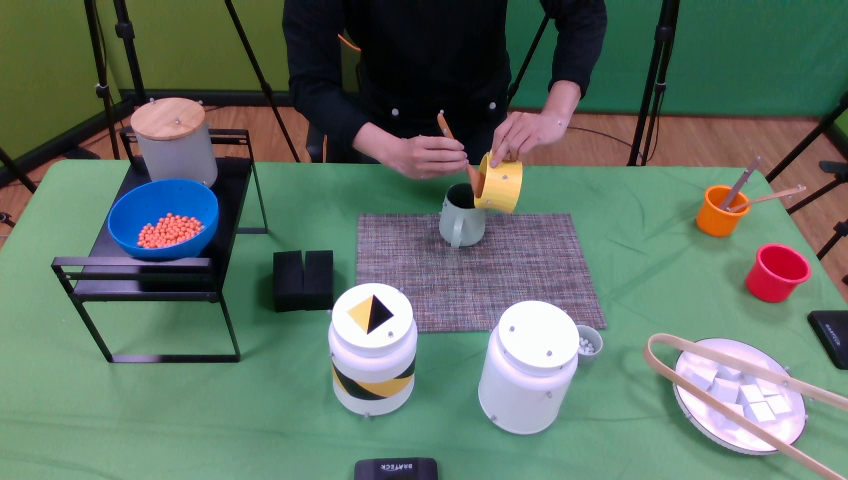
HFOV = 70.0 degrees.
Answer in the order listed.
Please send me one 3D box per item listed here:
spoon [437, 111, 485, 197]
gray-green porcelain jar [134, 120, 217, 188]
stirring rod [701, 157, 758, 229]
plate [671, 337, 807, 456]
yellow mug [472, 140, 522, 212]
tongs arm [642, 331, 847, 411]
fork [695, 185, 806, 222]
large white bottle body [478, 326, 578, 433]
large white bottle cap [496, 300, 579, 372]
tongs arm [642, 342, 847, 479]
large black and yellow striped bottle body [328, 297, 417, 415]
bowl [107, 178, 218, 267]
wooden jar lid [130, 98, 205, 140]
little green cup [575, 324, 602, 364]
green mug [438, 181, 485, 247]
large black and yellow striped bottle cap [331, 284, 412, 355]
[{"bbox_3d":[0.067,-0.143,1.036,0.021,0.195,0.041,14,61,48],"label":"spoon"},{"bbox_3d":[-0.397,-0.141,0.979,0.106,0.127,0.105,2,47,-2],"label":"gray-green porcelain jar"},{"bbox_3d":[0.634,-0.096,1.257,0.014,0.006,0.176,38,97,29],"label":"stirring rod"},{"bbox_3d":[0.504,0.254,0.984,0.208,0.039,0.206,2,46,-2],"label":"plate"},{"bbox_3d":[0.134,-0.118,1.089,0.064,0.131,0.099,11,28,-7],"label":"yellow mug"},{"bbox_3d":[0.546,0.227,0.968,0.384,0.026,0.050,22,52,13],"label":"tongs arm"},{"bbox_3d":[0.658,-0.074,1.230,0.207,0.019,0.028,-23,36,37],"label":"fork"},{"bbox_3d":[0.156,0.192,0.913,0.131,0.185,0.130,2,46,-2],"label":"large white bottle body"},{"bbox_3d":[0.160,0.133,0.852,0.115,0.018,0.114,3,46,-3],"label":"large white bottle cap"},{"bbox_3d":[0.504,0.278,0.918,0.386,0.028,0.028,34,59,22],"label":"tongs arm"},{"bbox_3d":[-0.078,0.167,0.920,0.131,0.185,0.130,2,46,-2],"label":"large black and yellow striped bottle body"},{"bbox_3d":[-0.374,-0.014,0.893,0.151,0.077,0.150,2,46,-2],"label":"bowl"},{"bbox_3d":[-0.393,-0.183,0.934,0.108,0.021,0.107,2,44,-2],"label":"wooden jar lid"},{"bbox_3d":[0.269,0.179,1.036,0.061,0.039,0.061,3,46,-2],"label":"little green cup"},{"bbox_3d":[0.072,-0.039,1.178,0.092,0.105,0.124,12,47,7],"label":"green mug"},{"bbox_3d":[-0.073,0.111,0.858,0.115,0.019,0.114,2,46,-2],"label":"large black and yellow striped bottle cap"}]
